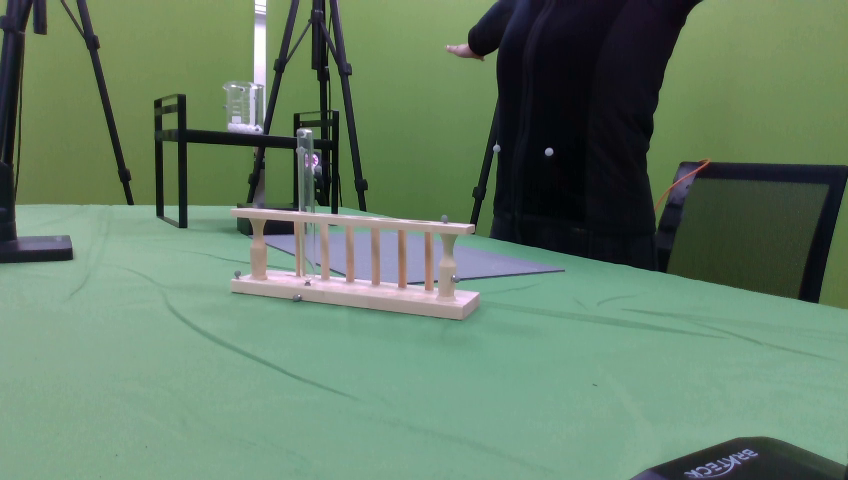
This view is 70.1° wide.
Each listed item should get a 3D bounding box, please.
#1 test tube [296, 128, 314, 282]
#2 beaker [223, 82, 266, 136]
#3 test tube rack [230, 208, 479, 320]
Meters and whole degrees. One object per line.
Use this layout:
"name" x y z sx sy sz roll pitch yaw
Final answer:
"test tube" -0.116 -0.033 0.593 0.017 0.150 0.017 0 6 0
"beaker" -0.362 -0.262 1.215 0.084 0.100 0.074 2 7 -1
"test tube rack" -0.069 0.017 0.598 0.242 0.085 0.067 5 8 18
